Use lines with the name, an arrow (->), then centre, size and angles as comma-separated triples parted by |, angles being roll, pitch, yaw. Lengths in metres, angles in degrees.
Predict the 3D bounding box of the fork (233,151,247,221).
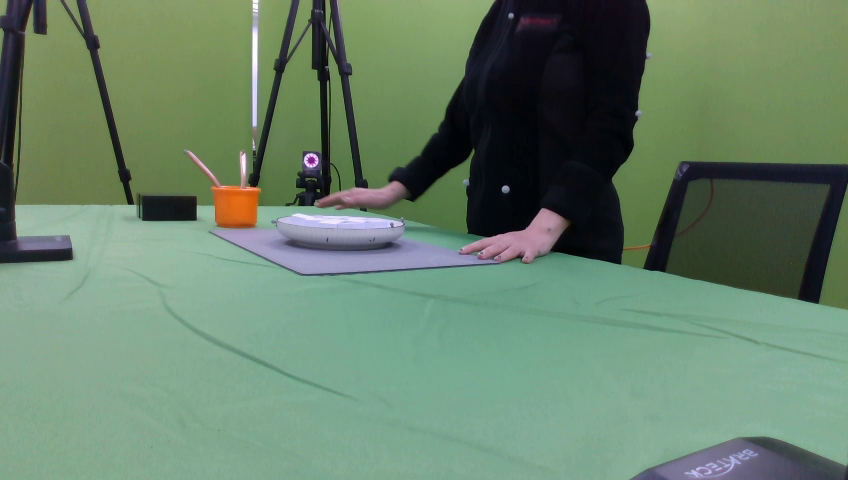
fork -> -0.366, -0.112, 1.215 | 0.028, 0.018, 0.206 | 16, 44, -29

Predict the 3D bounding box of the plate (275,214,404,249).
plate -> -0.136, -0.013, 0.982 | 0.208, 0.039, 0.207 | 3, 7, 0

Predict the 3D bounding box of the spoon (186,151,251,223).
spoon -> -0.401, -0.103, 1.176 | 0.021, 0.193, 0.042 | -42, -9, 25
